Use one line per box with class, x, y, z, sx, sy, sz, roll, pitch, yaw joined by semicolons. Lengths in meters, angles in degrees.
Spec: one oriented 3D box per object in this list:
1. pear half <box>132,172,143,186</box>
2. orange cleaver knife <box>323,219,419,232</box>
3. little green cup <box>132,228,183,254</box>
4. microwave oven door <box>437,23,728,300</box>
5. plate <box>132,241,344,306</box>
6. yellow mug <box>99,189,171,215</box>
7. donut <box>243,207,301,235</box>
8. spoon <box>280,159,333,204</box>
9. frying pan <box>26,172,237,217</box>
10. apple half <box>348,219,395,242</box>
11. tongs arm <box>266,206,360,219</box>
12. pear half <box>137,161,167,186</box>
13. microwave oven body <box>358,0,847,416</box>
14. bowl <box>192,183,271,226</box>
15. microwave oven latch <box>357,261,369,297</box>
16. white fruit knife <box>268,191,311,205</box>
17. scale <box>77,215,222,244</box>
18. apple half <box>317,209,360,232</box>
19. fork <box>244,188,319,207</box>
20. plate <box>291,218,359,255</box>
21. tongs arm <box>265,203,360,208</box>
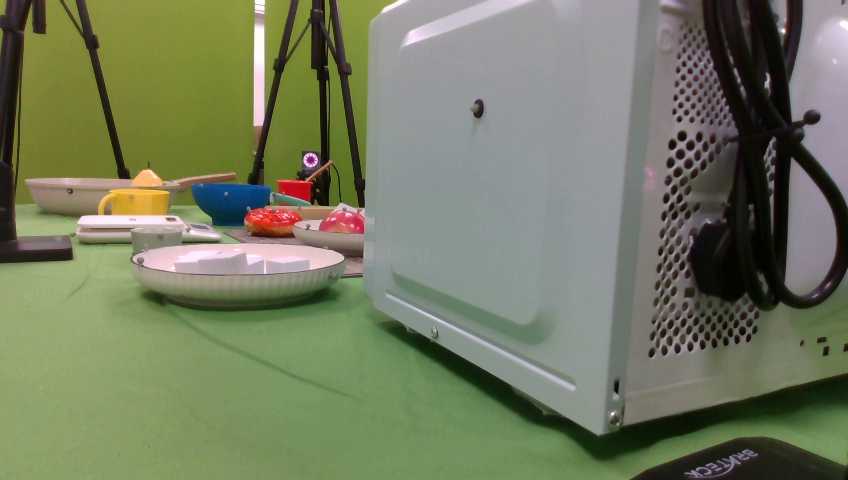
pear half;-0.638;-0.113;1.360;0.031;0.088;0.070;5;10;4
orange cleaver knife;-0.097;-0.027;1.152;0.077;0.012;0.212;2;7;41
little green cup;-0.342;0.006;0.779;0.061;0.038;0.061;2;8;0
microwave oven door;0.180;-0.072;0.621;0.358;0.243;0.039;-2;9;-29
plate;-0.187;0.033;0.625;0.208;0.039;0.207;2;7;0
yellow mug;-0.518;-0.055;1.080;0.099;0.064;0.131;7;9;26
donut;-0.261;-0.032;1.043;0.099;0.048;0.099;4;9;0
spoon;-0.316;-0.159;1.640;0.194;0.022;0.041;-50;32;-20
frying pan;-0.624;-0.118;1.387;0.305;0.102;0.490;8;17;32
apple half;-0.083;-0.018;0.967;0.081;0.033;0.081;5;10;-1
tongs arm;-0.173;-0.061;1.362;0.387;0.026;0.050;-1;4;-31
pear half;-0.602;-0.120;1.354;0.056;0.110;0.076;4;11;6
microwave oven body;0.211;-0.047;0.474;0.444;0.260;0.324;-1;7;-28
bowl;-0.382;-0.071;1.202;0.151;0.077;0.151;3;7;0
microwave oven latch;-0.019;0.033;0.531;0.079;0.029;0.030;-1;7;-27
white fruit knife;-0.364;-0.105;1.464;0.208;0.027;0.016;15;0;-34
scale;-0.434;-0.019;0.963;0.202;0.031;0.148;-1;9;-27
apple half;-0.122;-0.020;0.900;0.080;0.053;0.075;3;10;14
fork;-0.356;-0.105;1.526;0.208;0.018;0.028;16;-5;-41
plate;-0.098;-0.007;0.928;0.209;0.038;0.209;2;8;0
tongs arm;-0.209;-0.069;1.437;0.389;0.027;0.028;1;0;-17
